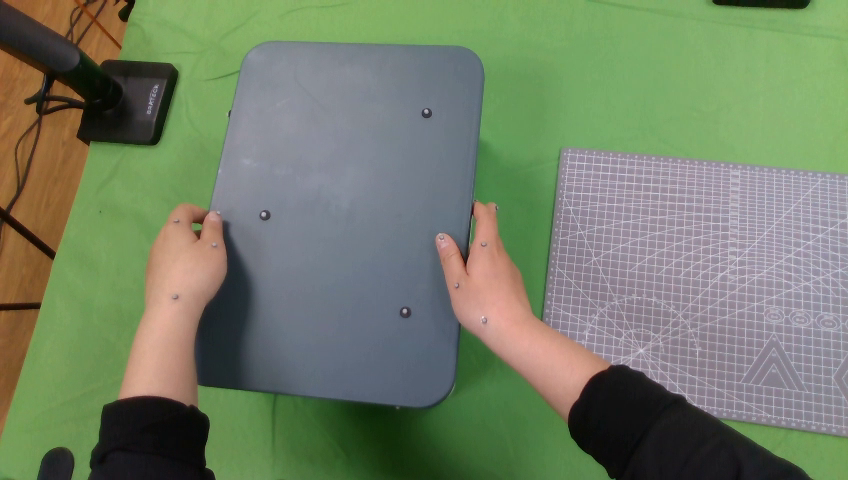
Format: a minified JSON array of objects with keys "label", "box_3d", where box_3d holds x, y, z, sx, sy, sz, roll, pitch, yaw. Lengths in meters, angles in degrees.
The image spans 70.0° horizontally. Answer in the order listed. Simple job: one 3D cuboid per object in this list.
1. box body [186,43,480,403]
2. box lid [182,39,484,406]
[{"label":"box body","box_3d":[-0.075,-0.012,0.668,0.254,0.161,0.362,4,74,7]},{"label":"box lid","box_3d":[-0.082,-0.036,0.597,0.263,0.015,0.369,4,75,7]}]
